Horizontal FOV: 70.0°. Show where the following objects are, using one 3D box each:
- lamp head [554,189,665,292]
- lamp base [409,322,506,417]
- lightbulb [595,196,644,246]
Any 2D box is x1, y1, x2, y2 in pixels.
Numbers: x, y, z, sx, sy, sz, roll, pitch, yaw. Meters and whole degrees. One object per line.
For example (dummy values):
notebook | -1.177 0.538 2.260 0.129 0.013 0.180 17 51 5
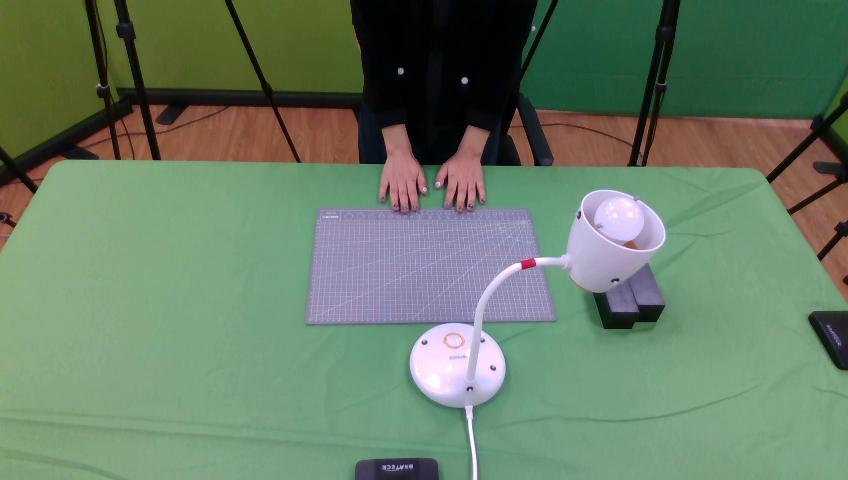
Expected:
lamp head | 0.234 0.012 0.796 0.113 0.123 0.111 13 43 -12
lamp base | 0.063 0.160 0.941 0.161 0.181 0.178 -10 50 -13
lightbulb | 0.243 -0.008 0.784 0.059 0.108 0.059 8 40 -7
